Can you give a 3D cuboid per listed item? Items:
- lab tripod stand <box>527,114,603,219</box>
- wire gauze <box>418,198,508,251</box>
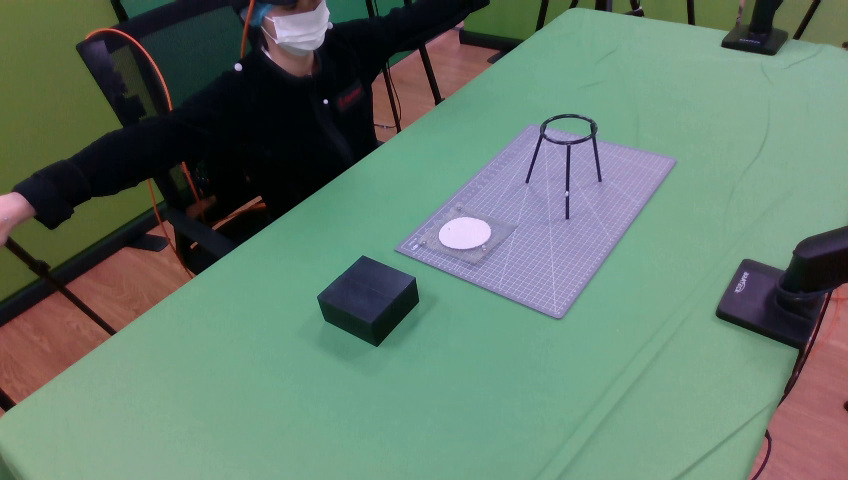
[{"bbox_3d":[0.234,-0.129,1.002,0.148,0.132,0.147,-6,40,6],"label":"lab tripod stand"},{"bbox_3d":[0.065,-0.028,0.983,0.124,0.011,0.121,3,42,22],"label":"wire gauze"}]
